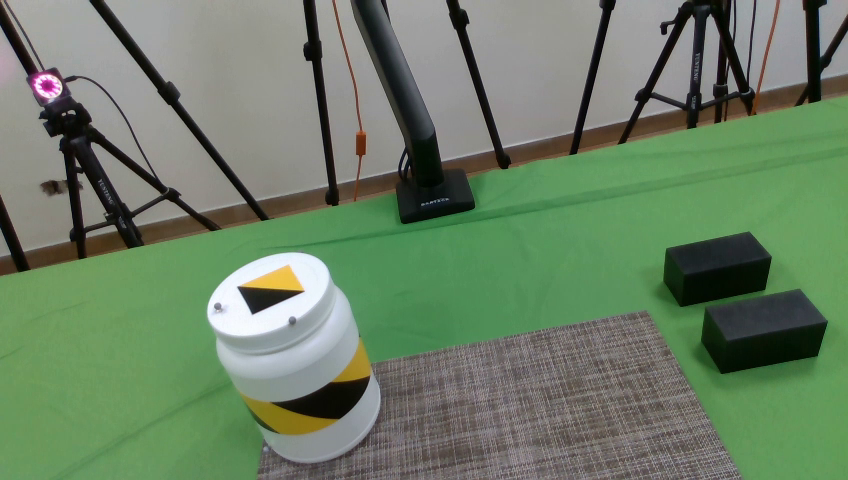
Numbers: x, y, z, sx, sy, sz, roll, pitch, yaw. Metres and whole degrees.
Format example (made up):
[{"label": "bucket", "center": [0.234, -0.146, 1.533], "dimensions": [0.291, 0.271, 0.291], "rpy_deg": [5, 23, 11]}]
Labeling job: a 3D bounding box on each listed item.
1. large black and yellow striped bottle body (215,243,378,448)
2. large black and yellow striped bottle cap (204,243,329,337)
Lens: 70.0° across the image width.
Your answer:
[{"label": "large black and yellow striped bottle body", "center": [-0.129, 0.107, 0.613], "dimensions": [0.130, 0.186, 0.129], "rpy_deg": [-8, 38, 7]}, {"label": "large black and yellow striped bottle cap", "center": [-0.145, 0.043, 0.562], "dimensions": [0.115, 0.019, 0.114], "rpy_deg": [-7, 37, 6]}]
